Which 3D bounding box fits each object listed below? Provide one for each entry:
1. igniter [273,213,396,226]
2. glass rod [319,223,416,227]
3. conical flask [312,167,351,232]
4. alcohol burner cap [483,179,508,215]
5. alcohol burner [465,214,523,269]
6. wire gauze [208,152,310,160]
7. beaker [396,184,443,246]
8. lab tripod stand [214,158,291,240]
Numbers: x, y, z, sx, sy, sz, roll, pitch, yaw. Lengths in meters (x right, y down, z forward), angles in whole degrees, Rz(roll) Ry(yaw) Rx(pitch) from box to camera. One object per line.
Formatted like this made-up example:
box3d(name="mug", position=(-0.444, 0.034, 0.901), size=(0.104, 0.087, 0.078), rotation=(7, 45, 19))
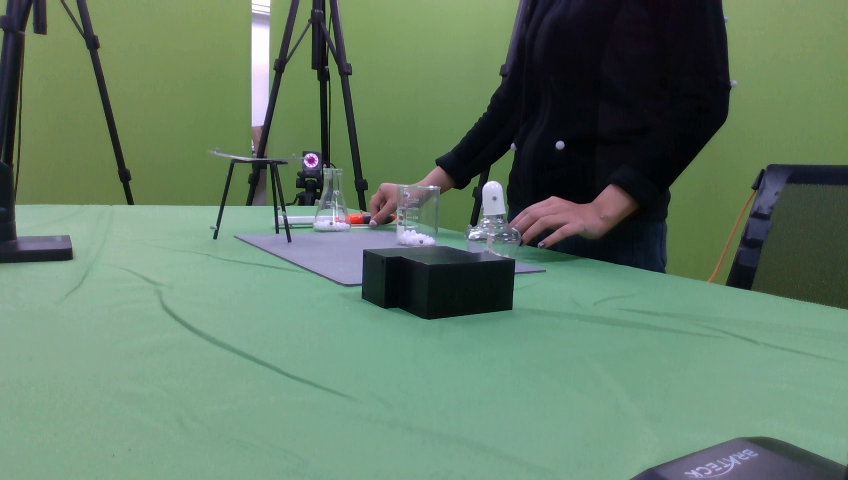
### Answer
box3d(name="igniter", position=(-0.179, -0.044, 1.258), size=(0.278, 0.025, 0.057), rotation=(-3, -2, -39))
box3d(name="glass rod", position=(-0.112, -0.030, 1.231), size=(0.200, 0.008, 0.008), rotation=(0, 7, -16))
box3d(name="conical flask", position=(-0.176, -0.078, 1.162), size=(0.075, 0.122, 0.075), rotation=(3, 7, 0))
box3d(name="alcohol burner cap", position=(0.094, -0.057, 0.810), size=(0.034, 0.048, 0.034), rotation=(-8, 6, 1))
box3d(name="alcohol burner", position=(0.094, -0.022, 0.815), size=(0.078, 0.119, 0.078), rotation=(0, 7, 0))
box3d(name="wire gauze", position=(-0.270, -0.135, 0.993), size=(0.124, 0.011, 0.122), rotation=(8, 8, 41))
box3d(name="beaker", position=(-0.011, -0.043, 1.004), size=(0.083, 0.100, 0.074), rotation=(8, 9, 39))
box3d(name="lab tripod stand", position=(-0.268, -0.068, 1.002), size=(0.148, 0.131, 0.148), rotation=(3, 6, 0))
